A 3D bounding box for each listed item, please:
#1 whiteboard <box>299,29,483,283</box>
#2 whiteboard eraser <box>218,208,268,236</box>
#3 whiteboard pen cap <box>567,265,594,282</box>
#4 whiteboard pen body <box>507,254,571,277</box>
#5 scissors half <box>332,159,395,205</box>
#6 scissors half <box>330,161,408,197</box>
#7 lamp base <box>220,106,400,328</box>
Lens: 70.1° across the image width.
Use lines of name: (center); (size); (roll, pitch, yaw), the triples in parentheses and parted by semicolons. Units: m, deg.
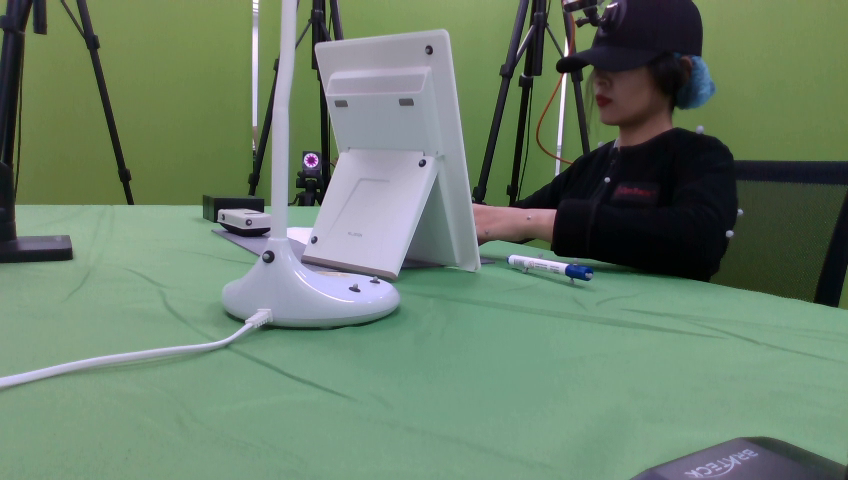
whiteboard: (-0.074, -0.082, 0.742); (0.216, 0.305, 0.144); (9, 29, 38)
whiteboard eraser: (-0.309, -0.031, 1.044); (0.056, 0.042, 0.112); (-2, 9, -40)
whiteboard pen cap: (0.186, 0.040, 0.722); (0.018, 0.018, 0.033); (-2, 6, -33)
whiteboard pen body: (0.155, 0.034, 0.772); (0.017, 0.017, 0.140); (-2, 7, -31)
scissors half: (-0.121, -0.114, 1.203); (0.040, 0.013, 0.176); (-23, -39, 26)
scissors half: (-0.106, -0.122, 1.190); (0.176, 0.013, 0.040); (19, -35, -28)
lamp base: (-0.101, -0.023, 0.531); (0.160, 0.180, 0.179); (4, 10, 10)
